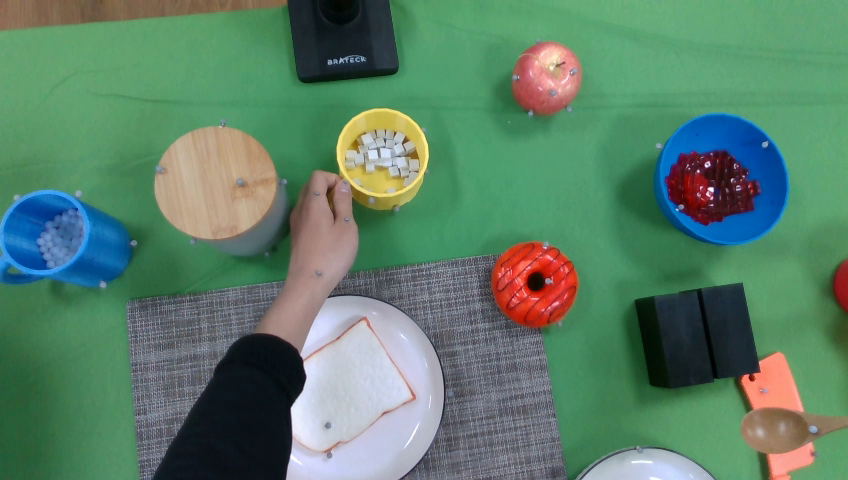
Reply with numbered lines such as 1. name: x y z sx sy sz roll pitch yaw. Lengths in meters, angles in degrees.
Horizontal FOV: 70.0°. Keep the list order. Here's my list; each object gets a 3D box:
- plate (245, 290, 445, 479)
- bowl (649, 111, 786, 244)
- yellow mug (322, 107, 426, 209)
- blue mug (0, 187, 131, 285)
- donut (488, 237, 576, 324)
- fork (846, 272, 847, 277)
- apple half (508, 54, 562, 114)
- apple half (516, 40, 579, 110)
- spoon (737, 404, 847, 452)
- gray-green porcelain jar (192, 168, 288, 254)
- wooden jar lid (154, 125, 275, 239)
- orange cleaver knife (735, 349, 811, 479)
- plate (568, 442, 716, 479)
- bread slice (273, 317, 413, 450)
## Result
1. plate: -0.082 0.158 0.647 0.208 0.039 0.207 1 81 -5
2. bowl: 0.324 -0.064 0.703 0.151 0.077 0.151 1 81 -5
3. yellow mug: -0.061 -0.081 0.675 0.131 0.064 0.100 -40 87 -9
4. blue mug: -0.373 0.008 0.611 0.116 0.106 0.082 -33 85 -9
5. donut: 0.120 0.046 0.680 0.099 0.048 0.098 1 82 -6
6. fork: 0.495 0.042 0.669 0.209 0.018 0.028 8 78 -46
7. apple half: 0.120 -0.171 0.701 0.033 0.081 0.081 -41 86 -15
8. apple half: 0.148 -0.196 0.710 0.053 0.075 0.080 -40 82 -15
9. spoon: 0.365 0.147 0.499 0.193 0.022 0.041 -17 55 28
10. gray-green porcelain jar: -0.199 -0.042 0.626 0.106 0.127 0.105 1 80 -5
11. wooden jar lid: -0.193 -0.053 0.565 0.108 0.021 0.108 1 79 -4
12. orange cleaver knife: 0.410 0.234 0.696 0.077 0.012 0.210 -6 80 -13
13. plate: 0.234 0.324 0.655 0.209 0.038 0.208 1 81 -5
14. bread slice: -0.091 0.161 0.647 0.131 0.019 0.104 -33 85 -10
